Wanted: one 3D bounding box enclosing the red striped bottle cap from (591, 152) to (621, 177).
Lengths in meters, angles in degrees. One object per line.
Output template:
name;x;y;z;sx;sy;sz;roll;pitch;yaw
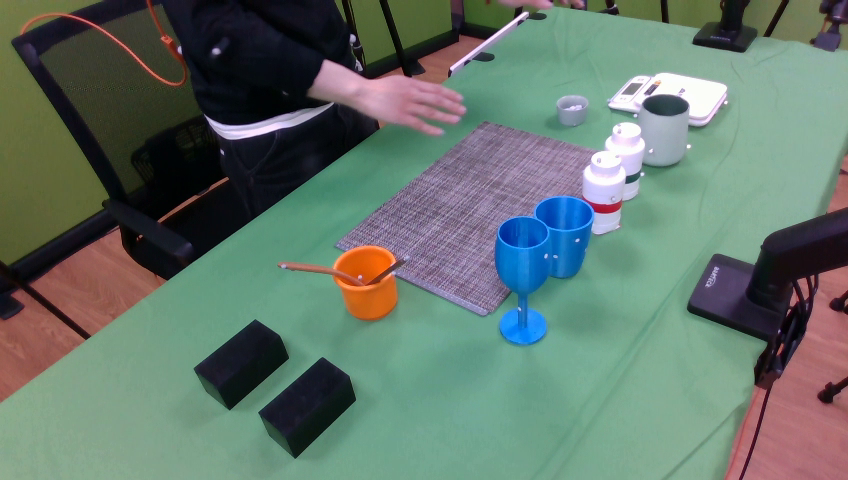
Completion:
red striped bottle cap;0.273;-0.114;0.907;0.044;0.018;0.044;-5;39;5

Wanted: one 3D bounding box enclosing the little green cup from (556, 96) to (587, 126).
little green cup;0.295;-0.257;1.214;0.061;0.039;0.061;-5;41;4

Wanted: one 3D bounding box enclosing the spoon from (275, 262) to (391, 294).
spoon;-0.120;0.050;0.830;0.041;0.195;0.021;31;97;45

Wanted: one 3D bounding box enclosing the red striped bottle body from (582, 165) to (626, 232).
red striped bottle body;0.279;-0.075;0.942;0.063;0.120;0.062;-5;41;4

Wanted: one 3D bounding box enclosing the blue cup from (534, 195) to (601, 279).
blue cup;0.201;0.000;0.879;0.092;0.100;0.092;-3;39;3

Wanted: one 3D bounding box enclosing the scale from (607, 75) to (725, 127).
scale;0.490;-0.287;1.226;0.199;0.032;0.149;22;48;30

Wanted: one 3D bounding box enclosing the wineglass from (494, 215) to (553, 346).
wineglass;0.126;0.055;0.770;0.074;0.173;0.073;-4;40;4

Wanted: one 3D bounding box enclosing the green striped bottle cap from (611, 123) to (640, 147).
green striped bottle cap;0.322;-0.168;0.963;0.044;0.020;0.044;-3;41;3

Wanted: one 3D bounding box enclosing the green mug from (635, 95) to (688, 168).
green mug;0.421;-0.201;1.081;0.092;0.105;0.125;5;42;15

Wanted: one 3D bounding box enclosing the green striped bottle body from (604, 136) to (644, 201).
green striped bottle body;0.326;-0.128;0.997;0.063;0.120;0.063;-4;41;4

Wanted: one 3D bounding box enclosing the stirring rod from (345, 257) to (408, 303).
stirring rod;-0.067;0.057;0.815;0.014;0.175;0.006;-24;82;-38
